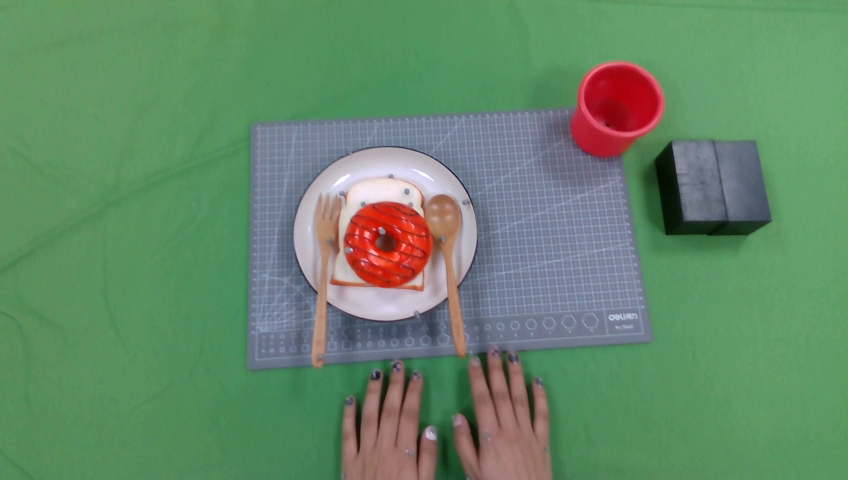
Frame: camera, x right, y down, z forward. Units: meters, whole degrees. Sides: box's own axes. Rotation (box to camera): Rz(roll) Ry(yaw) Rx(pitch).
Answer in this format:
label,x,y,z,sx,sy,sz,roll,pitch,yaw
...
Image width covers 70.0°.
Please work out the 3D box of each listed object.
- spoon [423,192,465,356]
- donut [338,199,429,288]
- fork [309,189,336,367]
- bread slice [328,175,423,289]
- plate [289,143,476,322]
label,x,y,z,sx,sy,sz,roll,pitch,yaw
spoon,0.025,0.032,0.664,0.041,0.022,0.192,-6,61,1
donut,-0.044,0.003,0.656,0.099,0.048,0.098,1,77,-5
fork,-0.113,0.035,0.660,0.028,0.019,0.205,7,61,-15
bread slice,-0.053,-0.012,0.691,0.105,0.019,0.131,3,75,-3
plate,-0.046,-0.008,0.687,0.209,0.038,0.208,1,74,-2
